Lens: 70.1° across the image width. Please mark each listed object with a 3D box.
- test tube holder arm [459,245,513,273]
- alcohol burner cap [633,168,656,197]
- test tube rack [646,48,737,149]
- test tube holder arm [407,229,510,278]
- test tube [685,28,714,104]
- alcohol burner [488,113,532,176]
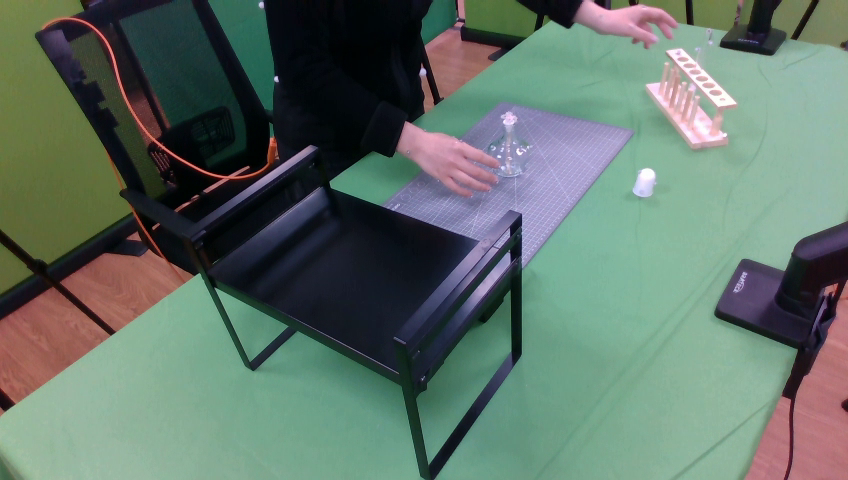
[{"bbox_3d":[0.085,0.027,0.857,0.087,0.015,0.010,20,64,30],"label":"test tube holder arm"},{"bbox_3d":[0.374,-0.099,1.018,0.034,0.048,0.033,0,41,1],"label":"alcohol burner cap"},{"bbox_3d":[0.511,-0.280,1.175,0.067,0.085,0.241,-7,41,0],"label":"test tube rack"},{"bbox_3d":[0.046,0.018,0.877,0.177,0.015,0.013,21,64,30],"label":"test tube holder arm"},{"bbox_3d":[0.524,-0.328,1.152,0.017,0.151,0.017,-1,42,1],"label":"test tube"},{"bbox_3d":[0.155,-0.176,1.083,0.078,0.119,0.077,-3,41,3],"label":"alcohol burner"}]
